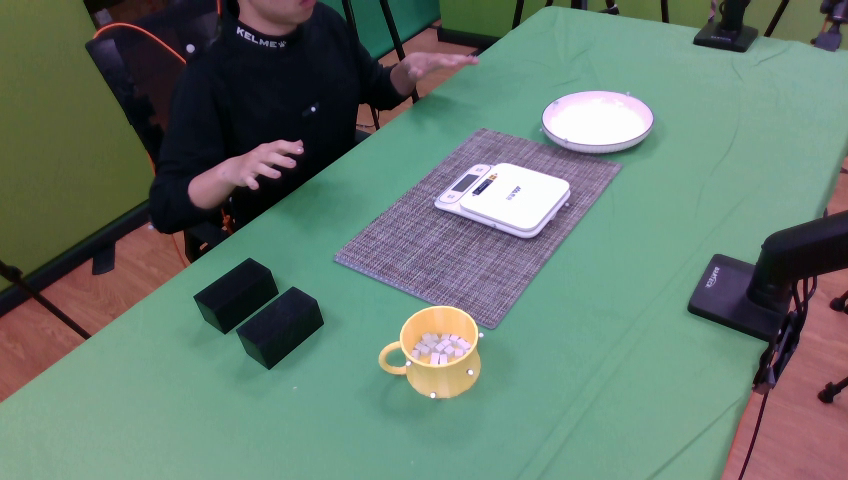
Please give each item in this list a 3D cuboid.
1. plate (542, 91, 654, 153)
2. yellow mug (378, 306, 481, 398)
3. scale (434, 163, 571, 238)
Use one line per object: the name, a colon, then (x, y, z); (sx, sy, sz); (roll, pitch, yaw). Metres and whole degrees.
plate: (0.334, -0.224, 1.171); (0.209, 0.038, 0.208); (-4, 40, 4)
yellow mug: (0.006, 0.144, 0.766); (0.131, 0.064, 0.099); (-10, 40, -2)
scale: (0.132, -0.075, 1.025); (0.199, 0.032, 0.149); (22, 48, 30)
